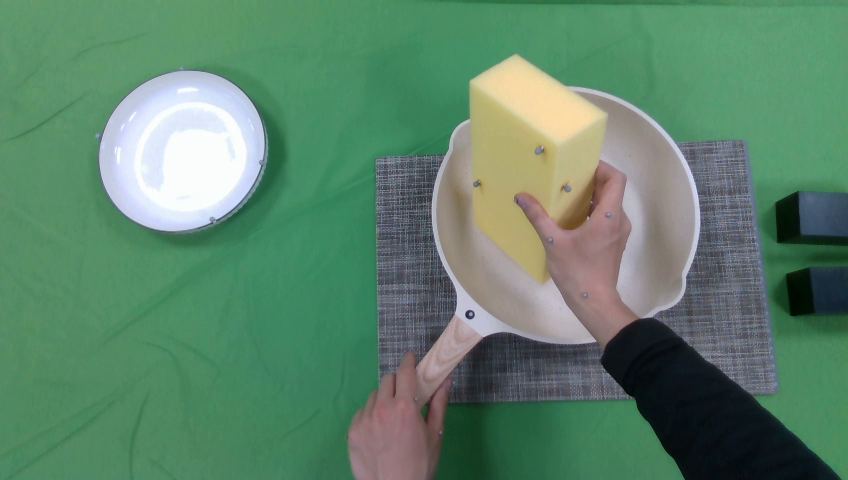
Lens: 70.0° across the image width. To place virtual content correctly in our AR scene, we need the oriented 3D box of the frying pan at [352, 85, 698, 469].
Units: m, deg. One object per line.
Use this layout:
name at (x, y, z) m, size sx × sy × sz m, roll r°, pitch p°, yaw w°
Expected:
frying pan at (0.086, 0.046, 0.668) m, size 0.305 × 0.103 × 0.487 m, roll 39°, pitch 75°, yaw 10°

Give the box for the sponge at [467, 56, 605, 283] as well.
sponge at (0.106, -0.064, 0.620) m, size 0.061 × 0.209 × 0.117 m, roll -34°, pitch 56°, yaw -19°

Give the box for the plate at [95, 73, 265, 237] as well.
plate at (-0.297, -0.102, 0.751) m, size 0.207 × 0.039 × 0.206 m, roll 0°, pitch 80°, yaw 2°
